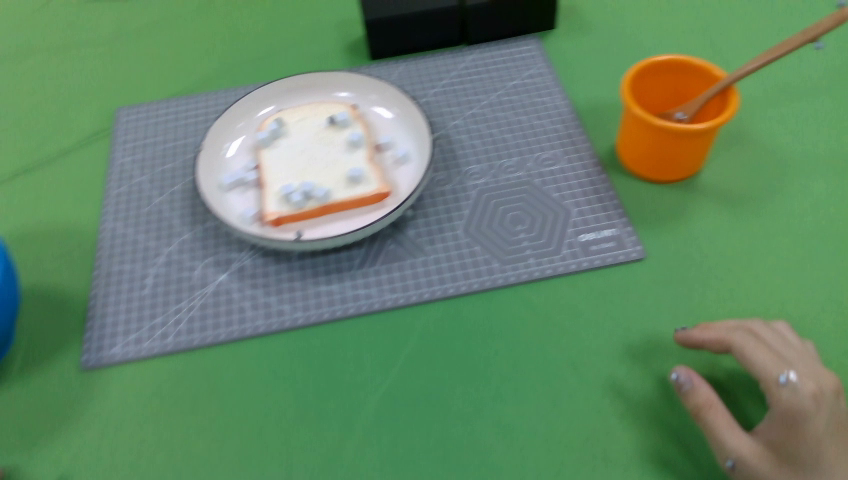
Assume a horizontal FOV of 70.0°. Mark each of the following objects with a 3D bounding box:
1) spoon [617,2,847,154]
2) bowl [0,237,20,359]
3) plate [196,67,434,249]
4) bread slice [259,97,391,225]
[{"bbox_3d":[0.244,-0.127,0.490,0.022,0.194,0.041,22,49,-35],"label":"spoon"},{"bbox_3d":[-0.367,0.060,0.450,0.151,0.077,0.150,-2,55,3],"label":"bowl"},{"bbox_3d":[-0.095,-0.074,0.543,0.209,0.038,0.207,-2,55,3],"label":"plate"},{"bbox_3d":[-0.099,-0.076,0.548,0.107,0.018,0.133,-17,57,-7],"label":"bread slice"}]
